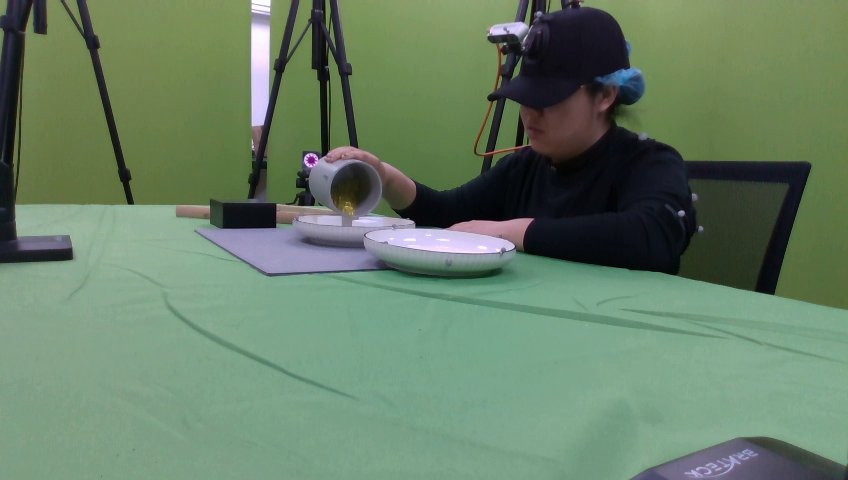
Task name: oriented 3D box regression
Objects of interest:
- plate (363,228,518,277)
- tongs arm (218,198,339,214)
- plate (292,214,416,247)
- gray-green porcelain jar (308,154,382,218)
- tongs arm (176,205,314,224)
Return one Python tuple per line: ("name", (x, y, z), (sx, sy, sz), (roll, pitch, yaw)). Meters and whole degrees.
("plate", (0.021, 0.016, 0.817), (0.209, 0.038, 0.209), (4, 9, 0))
("tongs arm", (-0.313, -0.064, 1.352), (0.384, 0.026, 0.051), (6, 9, 17))
("plate", (-0.118, -0.017, 1.024), (0.208, 0.039, 0.207), (3, 8, 0))
("gray-green porcelain jar", (-0.152, -0.105, 1.129), (0.106, 0.106, 0.126), (-2, 14, -30))
("tongs arm", (-0.333, -0.051, 1.273), (0.387, 0.028, 0.028), (4, 5, 4))
